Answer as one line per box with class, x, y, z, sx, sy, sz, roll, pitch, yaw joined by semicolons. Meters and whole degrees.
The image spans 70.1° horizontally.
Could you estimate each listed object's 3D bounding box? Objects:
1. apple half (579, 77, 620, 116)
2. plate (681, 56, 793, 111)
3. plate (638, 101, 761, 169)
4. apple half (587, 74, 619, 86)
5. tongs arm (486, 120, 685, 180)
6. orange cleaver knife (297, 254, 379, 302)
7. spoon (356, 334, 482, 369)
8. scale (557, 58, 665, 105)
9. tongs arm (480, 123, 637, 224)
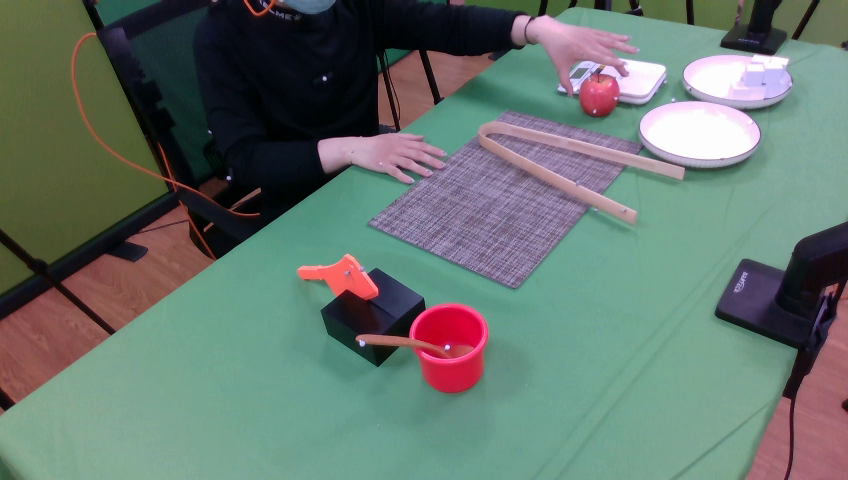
apple half;0.348;-0.285;1.218;0.080;0.075;0.053;17;50;22
plate;0.636;-0.317;1.239;0.207;0.039;0.206;-4;40;4
plate;0.500;-0.189;1.111;0.209;0.038;0.208;-4;41;4
apple half;0.366;-0.310;1.243;0.081;0.081;0.033;14;49;24
tongs arm;0.287;-0.171;1.123;0.384;0.028;0.028;21;52;29
orange cleaver knife;-0.128;0.058;0.874;0.012;0.077;0.210;-38;16;-30
spoon;-0.001;0.130;0.731;0.195;0.021;0.041;21;28;-39
scale;0.407;-0.348;1.314;0.199;0.032;0.149;19;47;28
tongs arm;0.228;-0.128;1.080;0.051;0.026;0.381;-33;46;-26
